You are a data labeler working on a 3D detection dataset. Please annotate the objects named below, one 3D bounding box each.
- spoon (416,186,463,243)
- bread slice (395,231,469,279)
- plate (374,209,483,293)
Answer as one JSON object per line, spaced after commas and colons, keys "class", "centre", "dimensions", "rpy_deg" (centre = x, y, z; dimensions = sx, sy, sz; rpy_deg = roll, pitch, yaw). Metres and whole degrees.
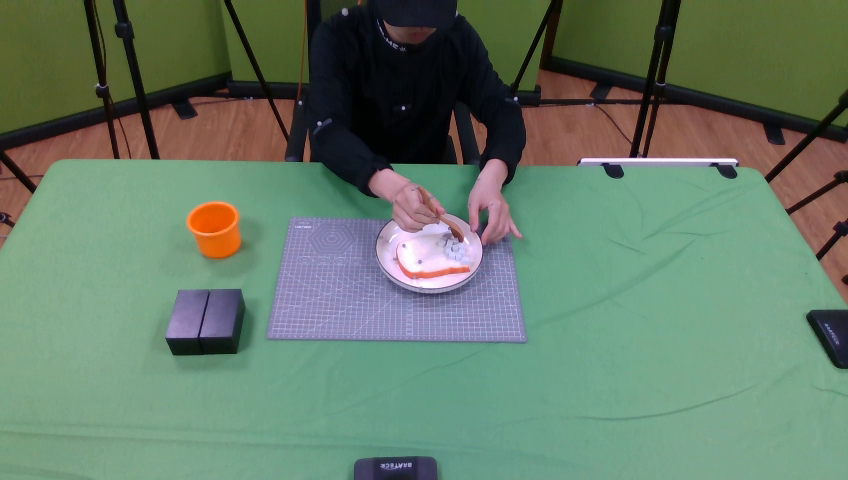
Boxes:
{"class": "spoon", "centre": [0.029, -0.044, 1.099], "dimensions": [0.021, 0.195, 0.041], "rpy_deg": [-48, 54, 0]}
{"class": "bread slice", "centre": [0.011, 0.030, 1.158], "dimensions": [0.132, 0.019, 0.104], "rpy_deg": [-9, 47, -13]}
{"class": "plate", "centre": [0.009, 0.024, 1.160], "dimensions": [0.209, 0.038, 0.208], "rpy_deg": [2, 46, -2]}
